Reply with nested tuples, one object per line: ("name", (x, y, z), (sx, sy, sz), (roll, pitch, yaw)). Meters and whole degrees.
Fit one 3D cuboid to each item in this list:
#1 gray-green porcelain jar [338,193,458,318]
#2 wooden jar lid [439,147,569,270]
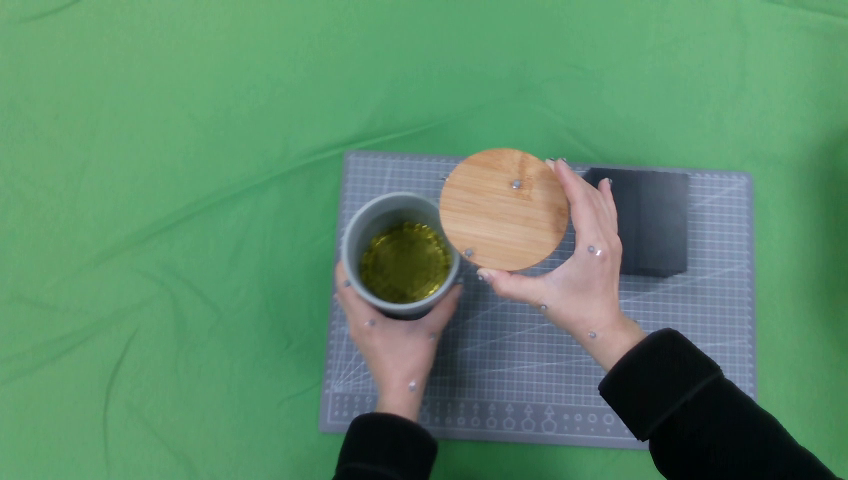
("gray-green porcelain jar", (-0.024, 0.021, 0.587), (0.106, 0.127, 0.105), (0, 80, -1))
("wooden jar lid", (0.067, -0.026, 0.511), (0.108, 0.021, 0.108), (0, 75, 0))
